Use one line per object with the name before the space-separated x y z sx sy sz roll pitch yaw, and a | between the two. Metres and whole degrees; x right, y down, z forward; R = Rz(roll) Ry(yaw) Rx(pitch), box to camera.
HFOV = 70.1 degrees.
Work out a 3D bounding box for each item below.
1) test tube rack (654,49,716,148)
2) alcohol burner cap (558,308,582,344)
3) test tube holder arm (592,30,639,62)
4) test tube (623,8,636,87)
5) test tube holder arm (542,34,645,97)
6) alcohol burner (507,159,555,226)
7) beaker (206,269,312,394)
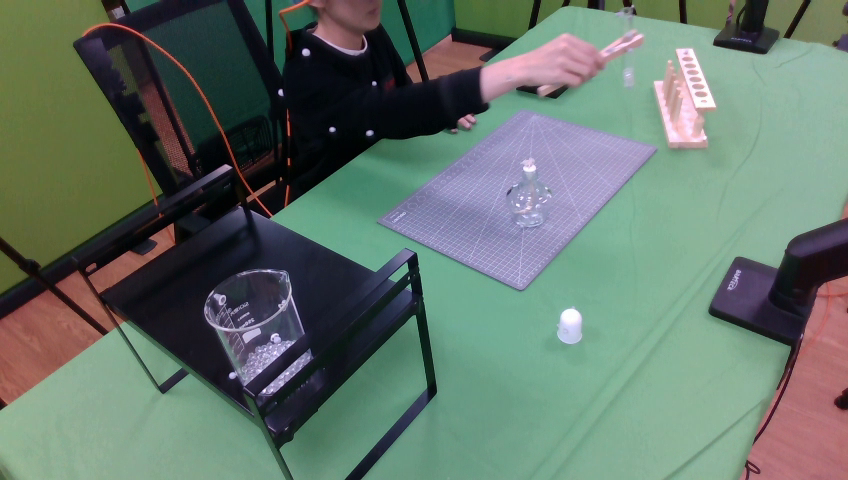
test tube rack | 0.502 -0.281 1.176 0.066 0.085 0.241 2 41 11
alcohol burner cap | 0.194 0.111 0.802 0.034 0.048 0.033 -4 39 4
test tube holder arm | 0.295 -0.294 0.931 0.088 0.015 0.010 -36 51 -8
test tube | 0.321 -0.296 0.942 0.017 0.151 0.017 -9 55 14
test tube holder arm | 0.260 -0.267 0.924 0.178 0.015 0.013 -30 50 -3
alcohol burner | 0.172 -0.081 0.969 0.078 0.119 0.077 -4 42 4
beaker | -0.146 0.086 0.560 0.073 0.101 0.084 19 47 28
